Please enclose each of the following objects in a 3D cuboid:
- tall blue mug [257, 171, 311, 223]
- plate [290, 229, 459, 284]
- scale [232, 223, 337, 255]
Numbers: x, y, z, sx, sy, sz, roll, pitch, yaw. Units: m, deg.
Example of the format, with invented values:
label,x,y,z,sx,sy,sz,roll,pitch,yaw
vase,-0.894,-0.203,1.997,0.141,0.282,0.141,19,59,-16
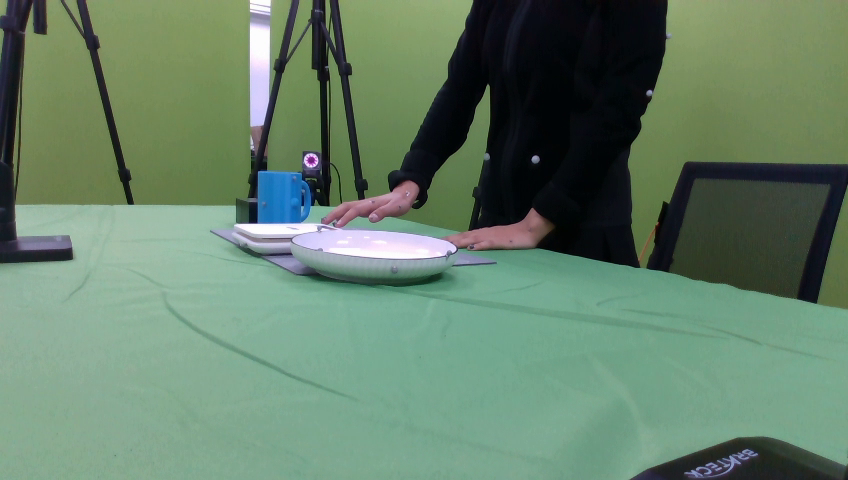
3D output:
label,x,y,z,sx,sy,sz,roll,pitch,yaw
tall blue mug,-0.259,-0.070,1.107,0.078,0.108,0.107,2,7,5
plate,-0.062,0.020,0.753,0.209,0.038,0.209,3,9,0
scale,-0.178,-0.004,0.920,0.202,0.031,0.148,-1,9,-30
